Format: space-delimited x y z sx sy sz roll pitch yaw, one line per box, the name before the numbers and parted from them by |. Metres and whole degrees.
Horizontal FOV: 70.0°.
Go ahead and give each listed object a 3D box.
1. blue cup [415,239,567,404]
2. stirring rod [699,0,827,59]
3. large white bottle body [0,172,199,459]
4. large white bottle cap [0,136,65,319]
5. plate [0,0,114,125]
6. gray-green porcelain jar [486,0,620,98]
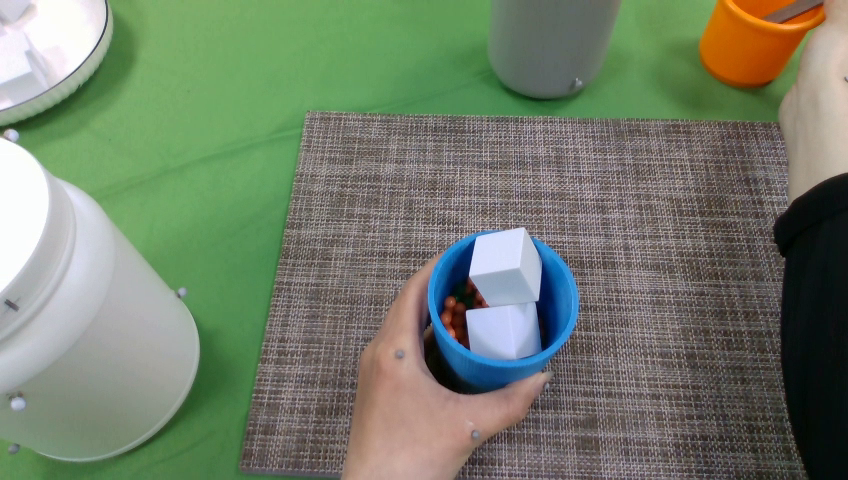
blue cup | 0.040 0.061 0.382 0.092 0.101 0.092 -1 61 2
stirring rod | 0.316 -0.196 0.500 0.176 0.006 0.014 -22 57 39
large white bottle body | -0.222 0.042 0.344 0.130 0.186 0.129 0 60 1
large white bottle cap | -0.223 -0.001 0.271 0.115 0.018 0.114 0 60 0
plate | -0.387 -0.179 0.556 0.208 0.039 0.206 0 60 0
gray-green porcelain jar | 0.106 -0.193 0.509 0.106 0.127 0.105 0 60 1
